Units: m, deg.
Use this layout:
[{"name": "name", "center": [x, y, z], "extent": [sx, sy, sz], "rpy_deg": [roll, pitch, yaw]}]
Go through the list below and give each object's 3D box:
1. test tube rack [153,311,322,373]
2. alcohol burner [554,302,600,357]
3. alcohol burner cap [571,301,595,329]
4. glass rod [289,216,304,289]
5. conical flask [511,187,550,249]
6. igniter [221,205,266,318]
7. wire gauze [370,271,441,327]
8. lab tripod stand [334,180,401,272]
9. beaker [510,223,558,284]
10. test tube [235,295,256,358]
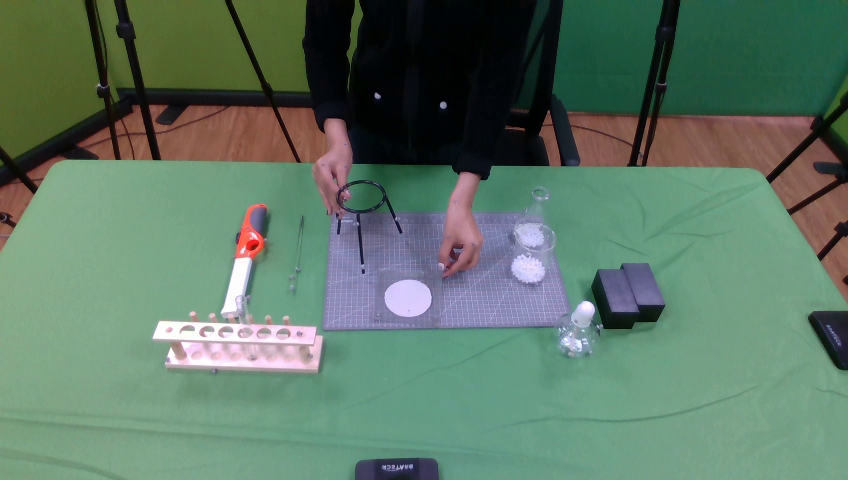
[{"name": "test tube rack", "center": [-0.293, 0.160, 0.978], "extent": [0.242, 0.085, 0.066], "rpy_deg": [3, 46, -2]}, {"name": "alcohol burner", "center": [0.260, 0.143, 1.018], "extent": [0.078, 0.119, 0.077], "rpy_deg": [3, 44, -3]}, {"name": "alcohol burner cap", "center": [0.262, 0.120, 0.991], "extent": [0.034, 0.048, 0.033], "rpy_deg": [2, 52, -2]}, {"name": "glass rod", "center": [-0.246, 0.019, 1.171], "extent": [0.008, 0.008, 0.198], "rpy_deg": [1, 43, -3]}, {"name": "conical flask", "center": [0.217, -0.048, 1.190], "extent": [0.075, 0.122, 0.075], "rpy_deg": [2, 46, -2]}, {"name": "igniter", "center": [-0.337, 0.030, 1.140], "extent": [0.057, 0.025, 0.274], "rpy_deg": [-5, 46, 4]}, {"name": "wire gauze", "center": [-0.032, 0.103, 1.104], "extent": [0.125, 0.011, 0.121], "rpy_deg": [3, 47, 3]}, {"name": "lab tripod stand", "center": [-0.111, -0.037, 1.126], "extent": [0.148, 0.132, 0.147], "rpy_deg": [-1, 43, 1]}, {"name": "beaker", "center": [0.199, 0.027, 1.131], "extent": [0.083, 0.101, 0.074], "rpy_deg": [26, 50, 21]}, {"name": "test tube", "center": [-0.274, 0.136, 0.933], "extent": [0.017, 0.151, 0.017], "rpy_deg": [4, 45, -4]}]
